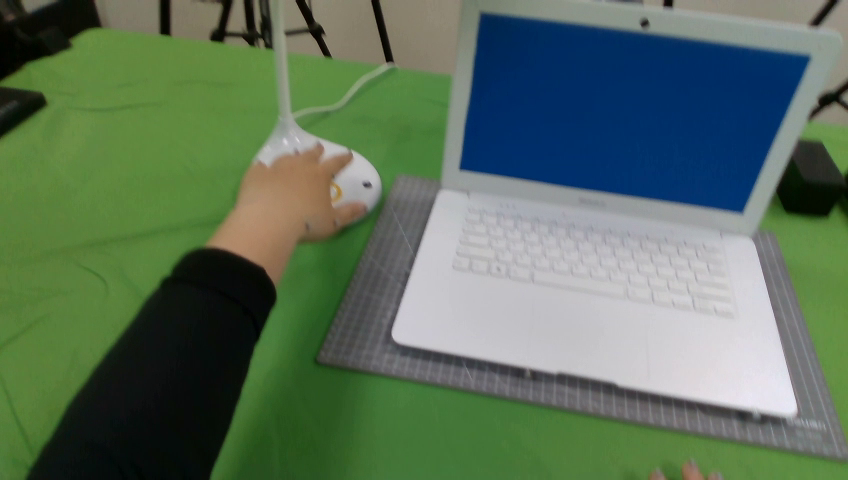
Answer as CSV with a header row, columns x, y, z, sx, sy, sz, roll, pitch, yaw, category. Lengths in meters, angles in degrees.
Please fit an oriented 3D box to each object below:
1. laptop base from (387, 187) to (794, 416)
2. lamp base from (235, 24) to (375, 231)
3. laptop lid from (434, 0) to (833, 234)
x,y,z,sx,sy,sz,roll,pitch,yaw,category
0.159,0.048,0.608,0.354,0.023,0.233,9,45,6,laptop base
-0.142,-0.129,0.661,0.161,0.182,0.177,-27,48,-30,lamp base
0.191,-0.127,0.627,0.356,0.243,0.013,8,35,7,laptop lid
